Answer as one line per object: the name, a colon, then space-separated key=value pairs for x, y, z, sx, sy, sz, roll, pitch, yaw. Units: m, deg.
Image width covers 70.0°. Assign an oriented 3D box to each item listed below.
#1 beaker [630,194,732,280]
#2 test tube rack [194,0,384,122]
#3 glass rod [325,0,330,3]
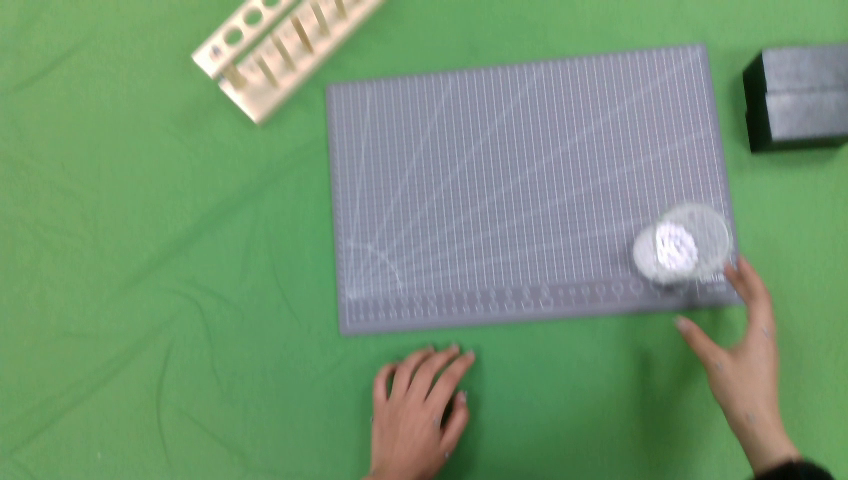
beaker: x=0.257 y=0.004 z=0.626 sx=0.084 sy=0.100 sz=0.073 roll=-42 pitch=80 yaw=-2
test tube rack: x=-0.141 y=-0.257 z=0.703 sx=0.066 sy=0.085 sz=0.242 roll=44 pitch=87 yaw=10
glass rod: x=-0.135 y=-0.317 z=0.644 sx=0.008 sy=0.201 sz=0.008 roll=-2 pitch=75 yaw=10
